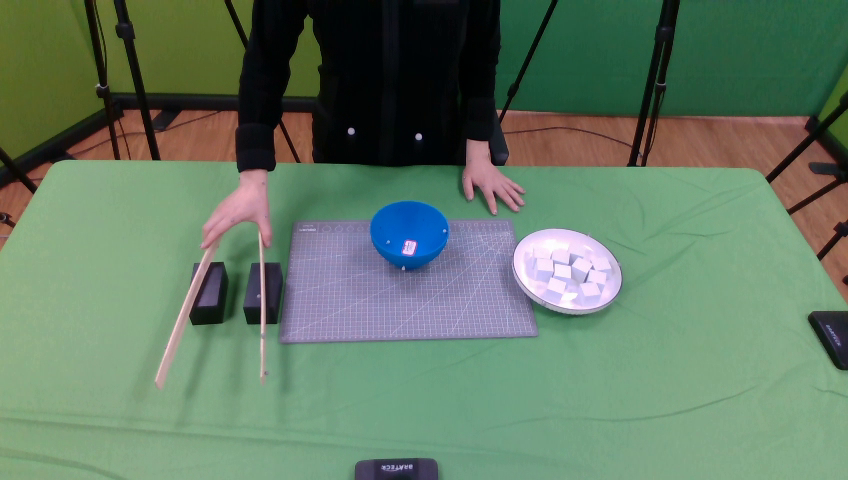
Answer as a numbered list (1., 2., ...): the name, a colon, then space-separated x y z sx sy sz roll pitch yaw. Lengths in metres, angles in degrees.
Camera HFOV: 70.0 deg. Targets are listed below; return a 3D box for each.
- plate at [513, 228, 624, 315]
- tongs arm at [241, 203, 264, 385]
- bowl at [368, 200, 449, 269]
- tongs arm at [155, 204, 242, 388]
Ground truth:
1. plate: 0.268 0.063 1.146 0.208 0.039 0.206 3 46 -3
2. tongs arm: -0.295 0.075 1.031 0.051 0.026 0.382 -5 47 -8
3. bowl: -0.031 0.002 1.151 0.151 0.077 0.150 2 46 -2
4. tongs arm: -0.375 0.075 1.022 0.028 0.028 0.385 2 46 4
